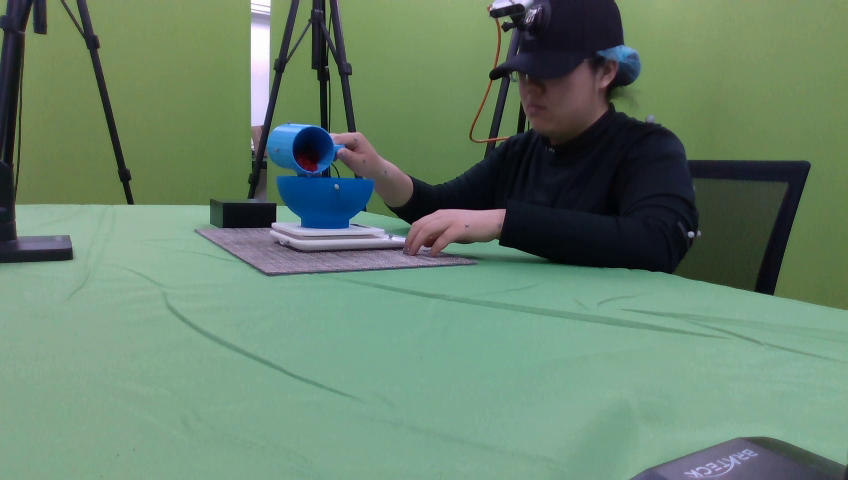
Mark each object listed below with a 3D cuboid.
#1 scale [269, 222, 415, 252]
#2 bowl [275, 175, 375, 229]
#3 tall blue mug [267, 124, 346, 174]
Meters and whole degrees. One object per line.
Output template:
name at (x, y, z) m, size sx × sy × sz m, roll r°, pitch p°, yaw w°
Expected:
scale at (-0.130, -0.007, 0.958) m, size 0.202 × 0.031 × 0.148 m, roll -1°, pitch 9°, yaw -32°
bowl at (-0.152, -0.059, 0.932) m, size 0.151 × 0.077 × 0.151 m, roll 2°, pitch 7°, yaw 0°
tall blue mug at (-0.194, -0.161, 1.011) m, size 0.107 × 0.078 × 0.107 m, roll -35°, pitch 28°, yaw -24°
